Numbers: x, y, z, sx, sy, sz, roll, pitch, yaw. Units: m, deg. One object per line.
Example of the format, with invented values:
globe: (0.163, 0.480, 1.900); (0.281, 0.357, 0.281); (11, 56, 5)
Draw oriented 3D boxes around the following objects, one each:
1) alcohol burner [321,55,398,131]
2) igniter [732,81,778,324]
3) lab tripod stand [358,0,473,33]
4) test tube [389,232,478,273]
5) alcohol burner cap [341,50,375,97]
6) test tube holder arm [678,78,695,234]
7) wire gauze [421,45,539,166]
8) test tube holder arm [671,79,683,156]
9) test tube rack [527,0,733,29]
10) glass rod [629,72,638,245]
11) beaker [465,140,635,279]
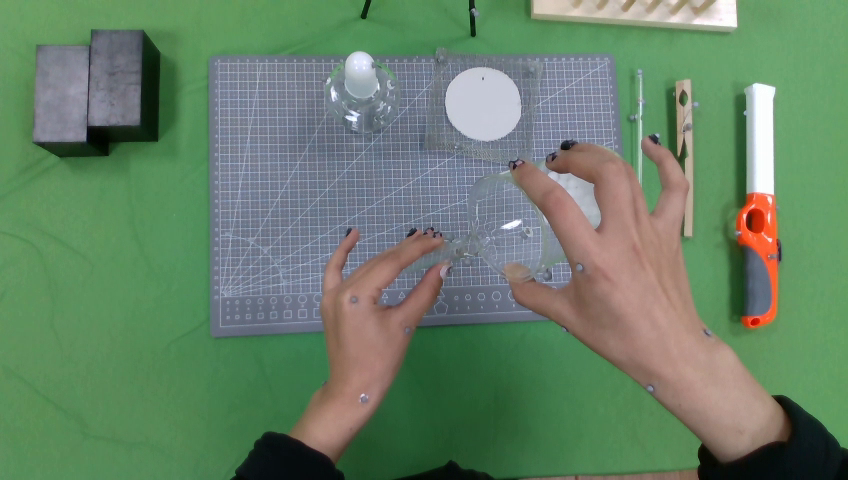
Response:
alcohol burner: (-0.065, -0.154, 0.607); (0.078, 0.119, 0.077); (0, 82, -3)
igniter: (0.371, -0.043, 0.680); (0.057, 0.025, 0.275); (7, 82, -15)
lab tripod stand: (-0.001, -0.286, 0.623); (0.148, 0.131, 0.148); (1, 84, -5)
test tube: (0.003, 0.012, 0.497); (0.017, 0.150, 0.017); (4, 80, -24)
alcohol burner cap: (-0.063, -0.160, 0.571); (0.034, 0.048, 0.033); (1, 76, -5)
test tube holder arm: (0.295, -0.095, 0.682); (0.013, 0.015, 0.178); (-6, 81, 30)
wire gauze: (0.063, -0.151, 0.672); (0.125, 0.011, 0.121); (9, 83, -5)
test tube holder arm: (0.289, -0.139, 0.690); (0.010, 0.015, 0.087); (-4, 82, 31)
test tube rack: (0.243, -0.291, 0.671); (0.243, 0.085, 0.066); (2, 82, -5)
glass rod: (0.236, -0.093, 0.683); (0.008, 0.008, 0.199); (3, 84, -5)
beaker: (0.088, -0.024, 0.420); (0.100, 0.084, 0.074); (-22, 86, -30)
